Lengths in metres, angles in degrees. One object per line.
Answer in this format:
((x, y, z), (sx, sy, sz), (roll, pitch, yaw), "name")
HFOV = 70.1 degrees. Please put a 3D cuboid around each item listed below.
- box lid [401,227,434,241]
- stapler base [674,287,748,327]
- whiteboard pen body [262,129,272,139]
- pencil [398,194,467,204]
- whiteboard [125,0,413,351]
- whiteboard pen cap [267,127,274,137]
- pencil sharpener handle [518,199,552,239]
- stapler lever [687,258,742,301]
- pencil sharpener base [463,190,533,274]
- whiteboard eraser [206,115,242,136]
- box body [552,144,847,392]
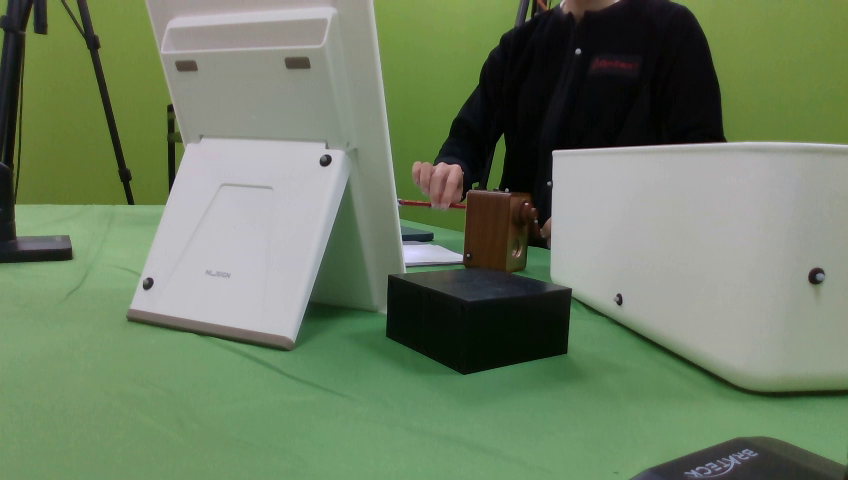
((-0.196, -0.015, 1.105), (0.373, 0.015, 0.262), (-1, 7, -32), "box lid")
((0.281, 0.061, 0.586), (0.041, 0.024, 0.131), (11, 8, 37), "stapler base")
((-0.361, -0.245, 1.393), (0.017, 0.017, 0.140), (0, 5, -20), "whiteboard pen body")
((0.018, -0.061, 0.883), (0.193, 0.012, 0.012), (-1, 4, 38), "pencil")
((-0.151, -0.050, 0.471), (0.216, 0.305, 0.144), (6, 27, 24), "whiteboard")
((-0.340, -0.239, 1.337), (0.018, 0.018, 0.033), (1, -1, -15), "whiteboard pen cap")
((0.150, -0.025, 0.792), (0.030, 0.036, 0.068), (8, -32, 37), "pencil sharpener handle")
((0.283, 0.035, 0.585), (0.026, 0.040, 0.119), (11, 8, 37), "stapler lever")
((0.102, -0.012, 0.815), (0.076, 0.107, 0.061), (9, 9, 37), "pencil sharpener base")
((-0.438, -0.249, 1.320), (0.056, 0.042, 0.112), (-3, 9, -30), "whiteboard eraser")
((0.290, 0.002, 0.549), (0.255, 0.160, 0.363), (2, 7, -10), "box body")
